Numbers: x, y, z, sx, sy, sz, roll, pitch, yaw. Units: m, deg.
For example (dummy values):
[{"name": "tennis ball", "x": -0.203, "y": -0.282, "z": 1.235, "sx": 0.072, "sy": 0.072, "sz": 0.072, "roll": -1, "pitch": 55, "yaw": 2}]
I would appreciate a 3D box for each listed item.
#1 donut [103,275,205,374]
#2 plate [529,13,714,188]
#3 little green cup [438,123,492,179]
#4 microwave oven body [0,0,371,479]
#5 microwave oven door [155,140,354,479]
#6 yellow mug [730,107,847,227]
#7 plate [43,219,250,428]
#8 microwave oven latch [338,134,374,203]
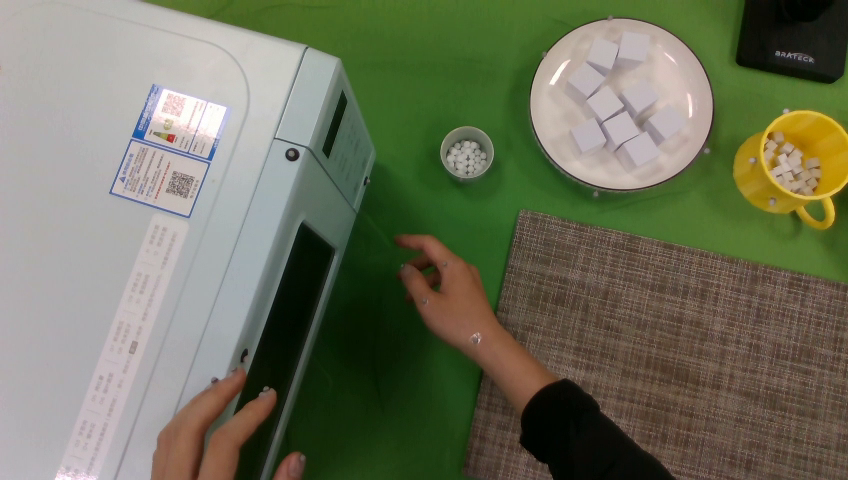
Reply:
[{"name": "donut", "x": -0.268, "y": 0.084, "z": 0.606, "sx": 0.099, "sy": 0.048, "sz": 0.099, "roll": 0, "pitch": 85, "yaw": -1}, {"name": "plate", "x": 0.224, "y": -0.159, "z": 0.703, "sx": 0.207, "sy": 0.039, "sz": 0.207, "roll": 0, "pitch": 81, "yaw": 2}, {"name": "little green cup", "x": 0.047, "y": -0.100, "z": 0.698, "sx": 0.061, "sy": 0.039, "sz": 0.061, "roll": 0, "pitch": 83, "yaw": 2}, {"name": "microwave oven body", "x": -0.277, "y": 0.027, "z": 0.576, "sx": 0.326, "sy": 0.261, "sz": 0.440, "roll": 17, "pitch": 83, "yaw": 4}, {"name": "microwave oven door", "x": -0.152, "y": 0.109, "z": 0.554, "sx": 0.039, "sy": 0.244, "sz": 0.355, "roll": 16, "pitch": 82, "yaw": 5}, {"name": "yellow mug", "x": 0.411, "y": -0.075, "z": 0.669, "sx": 0.100, "sy": 0.064, "sz": 0.130, "roll": -23, "pitch": 82, "yaw": -1}, {"name": "plate", "x": -0.278, "y": 0.084, "z": 0.621, "sx": 0.209, "sy": 0.038, "sz": 0.208, "roll": 0, "pitch": 82, "yaw": 2}, {"name": "microwave oven latch", "x": -0.080, "y": -0.083, "z": 0.682, "sx": 0.030, "sy": 0.029, "sz": 0.079, "roll": 20, "pitch": 83, "yaw": 5}]
